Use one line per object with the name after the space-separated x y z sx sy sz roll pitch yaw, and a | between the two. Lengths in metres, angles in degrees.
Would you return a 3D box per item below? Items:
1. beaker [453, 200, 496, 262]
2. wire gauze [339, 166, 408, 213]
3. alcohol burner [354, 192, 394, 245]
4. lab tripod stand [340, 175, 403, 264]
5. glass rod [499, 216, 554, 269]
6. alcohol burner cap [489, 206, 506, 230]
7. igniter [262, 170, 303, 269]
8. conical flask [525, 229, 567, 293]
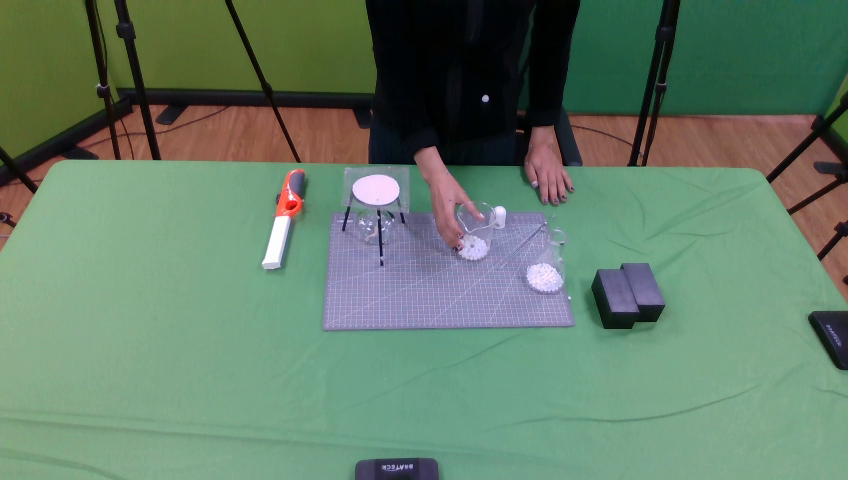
0.094 -0.012 1.162 0.074 0.101 0.083 17 48 12 | beaker
-0.091 -0.096 1.110 0.125 0.011 0.120 2 45 -3 | wire gauze
-0.096 -0.048 1.171 0.078 0.119 0.077 4 45 -4 | alcohol burner
-0.093 -0.050 1.160 0.148 0.132 0.147 2 44 -2 | lab tripod stand
0.208 0.002 1.219 0.008 0.008 0.199 32 52 25 | glass rod
0.152 -0.047 1.241 0.034 0.048 0.033 2 45 -2 | alcohol burner cap
-0.283 -0.050 1.222 0.057 0.025 0.275 -5 45 6 | igniter
0.231 0.036 1.110 0.075 0.122 0.075 2 46 -2 | conical flask
